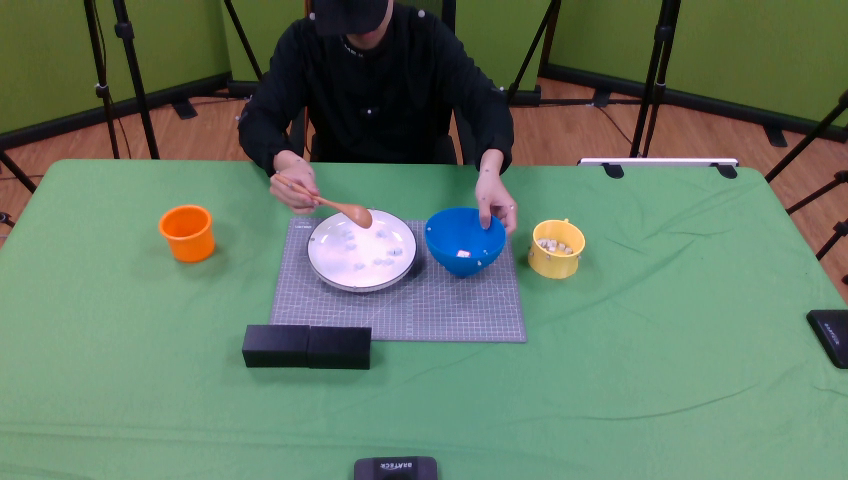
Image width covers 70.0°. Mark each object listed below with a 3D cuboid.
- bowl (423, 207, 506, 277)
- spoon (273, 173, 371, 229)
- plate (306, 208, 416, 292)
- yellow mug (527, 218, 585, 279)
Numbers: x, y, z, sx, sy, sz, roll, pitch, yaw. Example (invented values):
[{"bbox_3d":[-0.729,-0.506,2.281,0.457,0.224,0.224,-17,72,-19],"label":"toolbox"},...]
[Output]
[{"bbox_3d":[0.072,0.013,1.112,0.151,0.077,0.150,2,39,-1],"label":"bowl"},{"bbox_3d":[-0.179,-0.070,1.080,0.194,0.021,0.041,24,58,-17],"label":"spoon"},{"bbox_3d":[-0.119,0.021,1.153,0.209,0.038,0.208,2,46,-2],"label":"plate"},{"bbox_3d":[0.261,0.006,1.181,0.100,0.064,0.130,18,47,14],"label":"yellow mug"}]
